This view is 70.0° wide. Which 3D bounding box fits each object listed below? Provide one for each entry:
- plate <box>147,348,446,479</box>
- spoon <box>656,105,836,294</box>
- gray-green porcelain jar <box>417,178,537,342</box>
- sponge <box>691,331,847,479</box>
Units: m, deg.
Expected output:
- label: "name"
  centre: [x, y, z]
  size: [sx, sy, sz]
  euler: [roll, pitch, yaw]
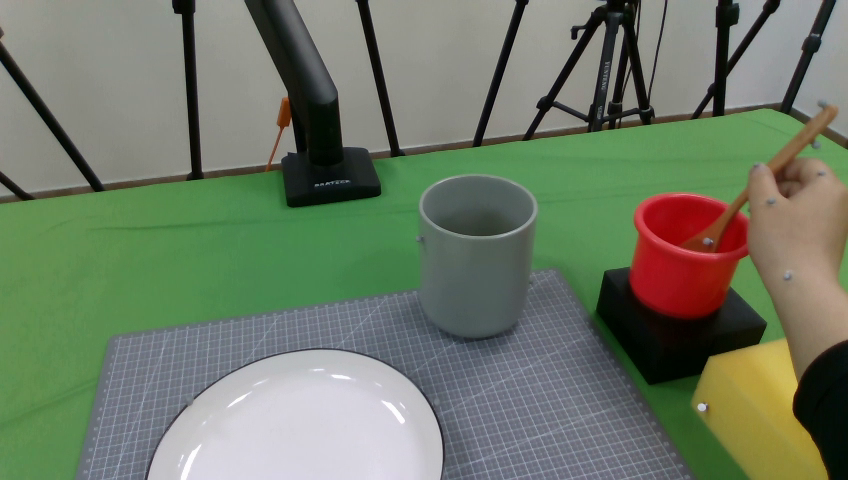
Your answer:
- label: "plate"
  centre: [-0.088, 0.166, 0.440]
  size: [0.208, 0.039, 0.205]
  euler: [0, 36, 0]
- label: "spoon"
  centre: [0.262, -0.028, 0.501]
  size: [0.022, 0.194, 0.041]
  euler: [13, 35, -26]
- label: "gray-green porcelain jar"
  centre: [0.047, 0.022, 0.562]
  size: [0.106, 0.127, 0.105]
  euler: [0, 36, 1]
- label: "sponge"
  centre: [0.309, 0.164, 0.428]
  size: [0.118, 0.061, 0.204]
  euler: [-11, 37, -14]
